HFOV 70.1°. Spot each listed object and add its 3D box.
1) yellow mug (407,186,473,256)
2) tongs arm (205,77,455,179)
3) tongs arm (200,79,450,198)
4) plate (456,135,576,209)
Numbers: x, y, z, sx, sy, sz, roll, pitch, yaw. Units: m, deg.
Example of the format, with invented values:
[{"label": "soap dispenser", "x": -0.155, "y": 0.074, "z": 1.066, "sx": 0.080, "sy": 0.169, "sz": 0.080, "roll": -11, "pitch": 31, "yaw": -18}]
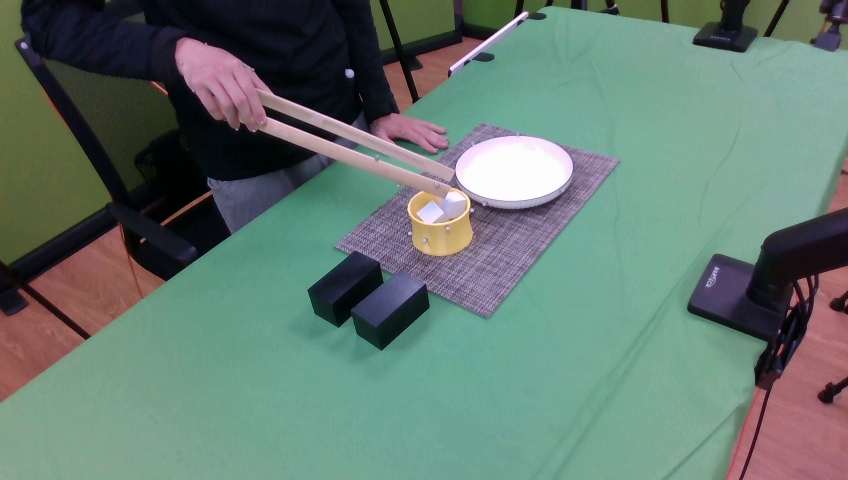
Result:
[{"label": "yellow mug", "x": 0.021, "y": -0.041, "z": 0.973, "sx": 0.100, "sy": 0.064, "sz": 0.130, "roll": -18, "pitch": 41, "yaw": -12}, {"label": "tongs arm", "x": -0.137, "y": -0.166, "z": 0.908, "sx": 0.388, "sy": 0.028, "sz": 0.028, "roll": 20, "pitch": 47, "yaw": -6}, {"label": "tongs arm", "x": -0.143, "y": -0.146, "z": 0.885, "sx": 0.386, "sy": 0.026, "sz": 0.050, "roll": 19, "pitch": 44, "yaw": -8}, {"label": "plate", "x": 0.161, "y": -0.116, "z": 1.064, "sx": 0.207, "sy": 0.039, "sz": 0.206, "roll": -4, "pitch": 40, "yaw": 4}]
